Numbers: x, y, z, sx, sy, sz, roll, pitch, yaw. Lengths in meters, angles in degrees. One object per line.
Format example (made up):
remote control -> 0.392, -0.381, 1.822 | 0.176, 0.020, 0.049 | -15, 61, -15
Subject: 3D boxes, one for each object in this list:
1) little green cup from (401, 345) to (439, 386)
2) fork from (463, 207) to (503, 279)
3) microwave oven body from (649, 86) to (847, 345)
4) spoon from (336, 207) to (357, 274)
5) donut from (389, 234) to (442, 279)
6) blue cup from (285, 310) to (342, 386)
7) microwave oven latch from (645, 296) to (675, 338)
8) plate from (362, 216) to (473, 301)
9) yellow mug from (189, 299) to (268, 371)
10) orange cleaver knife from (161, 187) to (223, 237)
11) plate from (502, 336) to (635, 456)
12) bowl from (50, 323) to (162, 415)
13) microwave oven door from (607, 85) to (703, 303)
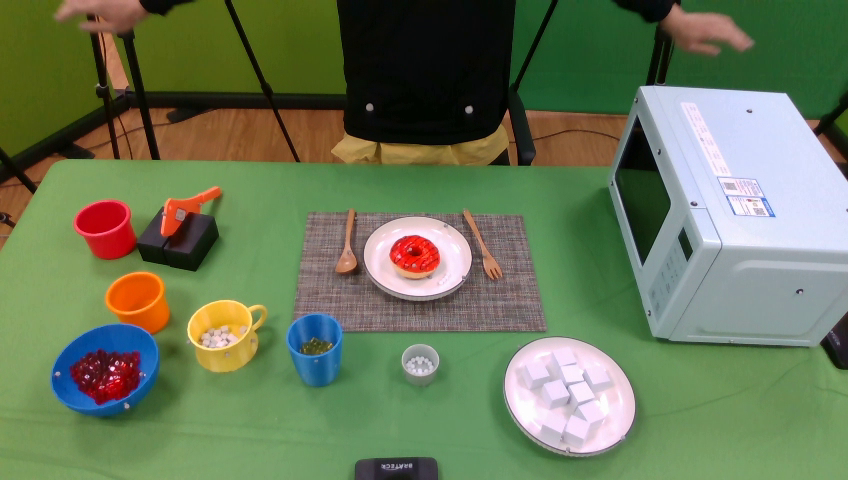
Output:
little green cup -> -0.007, 0.206, 0.988 | 0.061, 0.039, 0.061 | 2, 46, -2
fork -> 0.112, 0.003, 1.199 | 0.028, 0.019, 0.206 | -20, 50, -1
microwave oven body -> 0.568, -0.053, 1.118 | 0.326, 0.261, 0.439 | 2, 45, -1
spoon -> -0.147, -0.002, 1.184 | 0.041, 0.022, 0.192 | -15, 45, 14
donut -> -0.016, 0.031, 1.135 | 0.099, 0.048, 0.098 | 4, 44, -3
blue cup -> -0.170, 0.179, 0.958 | 0.093, 0.101, 0.092 | 2, 44, -1
microwave oven latch -> 0.412, 0.134, 1.061 | 0.030, 0.029, 0.078 | 3, 45, 0
plate -> -0.012, 0.038, 1.144 | 0.209, 0.038, 0.208 | 2, 46, -2
yellow mug -> -0.316, 0.148, 1.002 | 0.131, 0.064, 0.099 | -32, 56, -31
orange cleaver knife -> -0.448, -0.058, 1.181 | 0.012, 0.077, 0.211 | 13, 17, 6
plate -> 0.225, 0.248, 0.963 | 0.208, 0.039, 0.206 | 2, 46, -2
bowl -> -0.472, 0.209, 0.924 | 0.151, 0.077, 0.150 | 3, 45, -2
microwave oven door -> 0.423, -0.094, 1.141 | 0.039, 0.245, 0.353 | 2, 46, -1
